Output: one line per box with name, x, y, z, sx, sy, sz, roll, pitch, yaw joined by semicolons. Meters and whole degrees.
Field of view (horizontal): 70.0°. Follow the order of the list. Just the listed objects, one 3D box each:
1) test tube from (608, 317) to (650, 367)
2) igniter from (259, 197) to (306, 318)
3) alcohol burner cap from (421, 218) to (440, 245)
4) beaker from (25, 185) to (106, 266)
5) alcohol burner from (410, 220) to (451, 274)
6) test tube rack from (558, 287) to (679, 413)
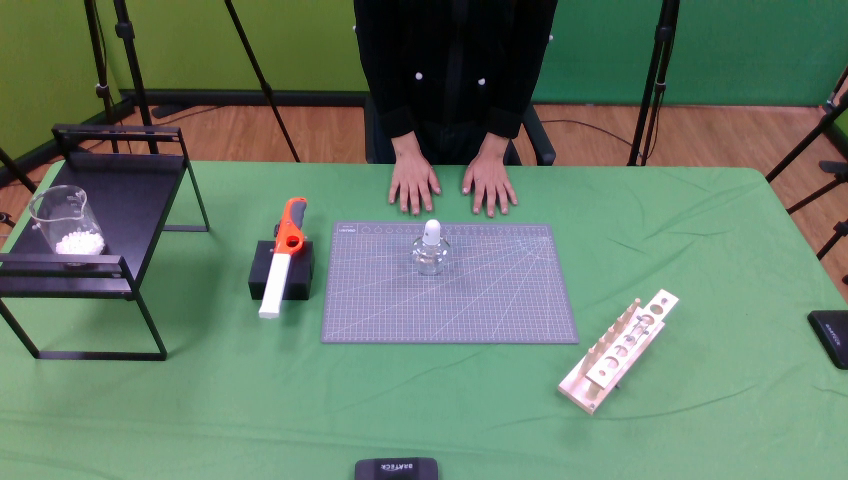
test tube;0.314;0.168;0.942;0.017;0.151;0.017;5;48;-5
igniter;-0.252;0.021;1.088;0.057;0.025;0.275;4;48;-2
alcohol burner cap;0.014;-0.018;1.095;0.034;0.048;0.033;5;44;-5
beaker;-0.507;-0.017;0.872;0.084;0.101;0.074;23;49;17
alcohol burner;0.013;0.007;1.120;0.078;0.120;0.077;1;48;-1
test tube rack;0.326;0.170;1.009;0.066;0.085;0.242;36;54;26
